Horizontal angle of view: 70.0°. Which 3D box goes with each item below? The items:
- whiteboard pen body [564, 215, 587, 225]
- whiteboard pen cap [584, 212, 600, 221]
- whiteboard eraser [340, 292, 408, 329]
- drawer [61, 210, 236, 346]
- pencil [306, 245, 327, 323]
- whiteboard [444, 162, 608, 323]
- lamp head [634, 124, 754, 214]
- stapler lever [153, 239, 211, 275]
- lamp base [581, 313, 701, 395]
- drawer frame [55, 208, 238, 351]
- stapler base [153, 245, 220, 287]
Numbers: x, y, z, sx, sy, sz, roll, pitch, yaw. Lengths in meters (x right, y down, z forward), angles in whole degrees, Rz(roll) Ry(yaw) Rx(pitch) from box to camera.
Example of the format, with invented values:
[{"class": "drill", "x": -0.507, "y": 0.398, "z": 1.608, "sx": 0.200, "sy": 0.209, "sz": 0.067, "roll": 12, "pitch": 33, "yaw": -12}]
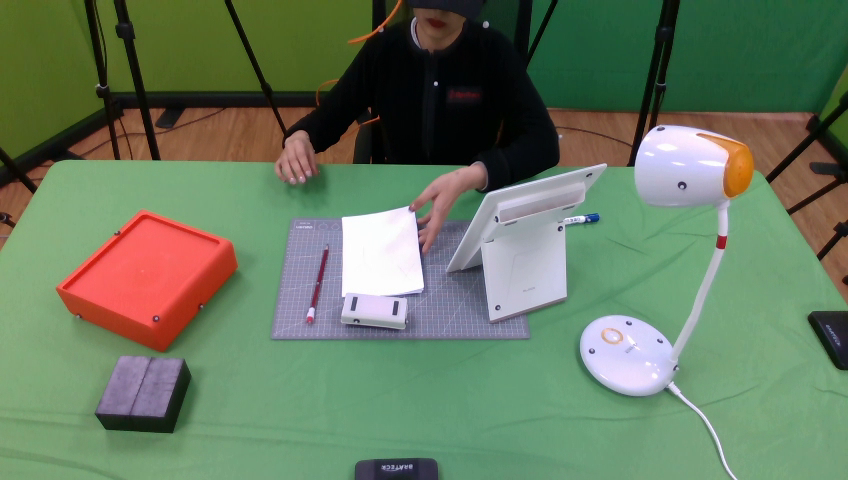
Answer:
[{"class": "whiteboard pen body", "x": 0.291, "y": -0.040, "z": 1.261, "sx": 0.141, "sy": 0.017, "sz": 0.017, "roll": -6, "pitch": 47, "yaw": -11}, {"class": "whiteboard pen cap", "x": 0.351, "y": -0.049, "z": 1.271, "sx": 0.033, "sy": 0.018, "sz": 0.018, "roll": -6, "pitch": 47, "yaw": -11}, {"class": "whiteboard eraser", "x": -0.087, "y": 0.125, "z": 1.052, "sx": 0.113, "sy": 0.042, "sz": 0.055, "roll": 5, "pitch": 45, "yaw": 1}, {"class": "drawer", "x": -0.474, "y": 0.061, "z": 1.063, "sx": 0.194, "sy": 0.073, "sz": 0.211, "roll": 19, "pitch": 49, "yaw": 13}, {"class": "pencil", "x": -0.195, "y": 0.076, "z": 1.115, "sx": 0.012, "sy": 0.012, "sz": 0.193, "roll": 4, "pitch": 44, "yaw": 0}, {"class": "whiteboard", "x": 0.186, "y": 0.026, "z": 1.028, "sx": 0.217, "sy": 0.306, "sz": 0.143, "roll": -14, "pitch": 68, "yaw": -18}, {"class": "lamp head", "x": 0.351, "y": -0.089, "z": 0.775, "sx": 0.112, "sy": 0.113, "sz": 0.122, "roll": -30, "pitch": 30, "yaw": -28}, {"class": "stapler lever", "x": -0.436, "y": 0.027, "z": 1.090, "sx": 0.118, "sy": 0.040, "sz": 0.027, "roll": 25, "pitch": 51, "yaw": 14}, {"class": "lamp base", "x": 0.361, "y": 0.144, "z": 0.973, "sx": 0.178, "sy": 0.181, "sz": 0.160, "roll": 34, "pitch": 53, "yaw": 23}, {"class": "drawer frame", "x": -0.474, "y": 0.062, "z": 1.059, "sx": 0.201, "sy": 0.083, "sz": 0.213, "roll": 18, "pitch": 48, "yaw": 12}, {"class": "stapler base", "x": -0.436, "y": 0.042, "z": 1.108, "sx": 0.130, "sy": 0.024, "sz": 0.041, "roll": 23, "pitch": 50, "yaw": 15}]
